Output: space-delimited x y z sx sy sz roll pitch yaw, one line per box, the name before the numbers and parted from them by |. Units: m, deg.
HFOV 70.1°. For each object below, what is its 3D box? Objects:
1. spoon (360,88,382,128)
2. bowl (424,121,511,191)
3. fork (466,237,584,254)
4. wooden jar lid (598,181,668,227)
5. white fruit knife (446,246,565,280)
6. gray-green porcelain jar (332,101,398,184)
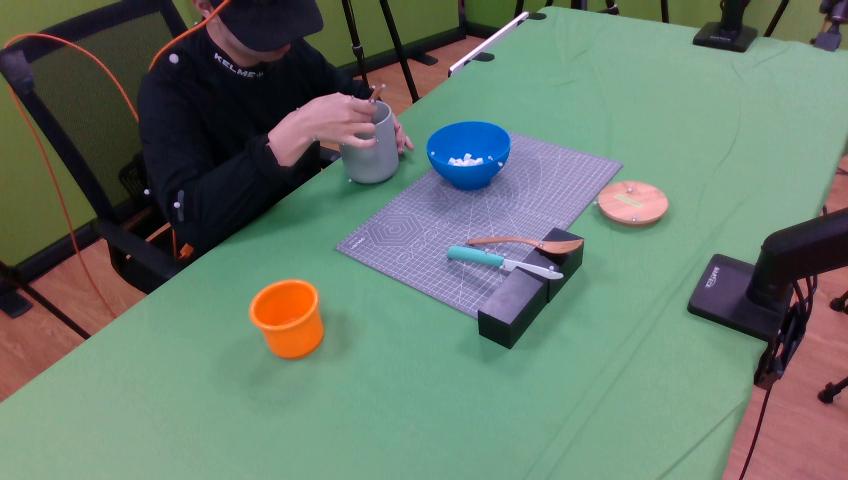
spoon | -0.099 -0.216 1.057 0.042 0.193 0.021 -21 78 -19
bowl | 0.080 -0.140 1.074 0.151 0.077 0.150 -4 40 4
fork | 0.142 0.005 0.894 0.205 0.019 0.028 4 43 41
wooden jar lid | 0.340 -0.057 0.988 0.108 0.021 0.108 -5 41 5
white fruit knife | 0.111 0.033 0.868 0.205 0.027 0.016 11 44 40
gray-green porcelain jar | -0.105 -0.174 1.109 0.106 0.127 0.105 -4 40 4
